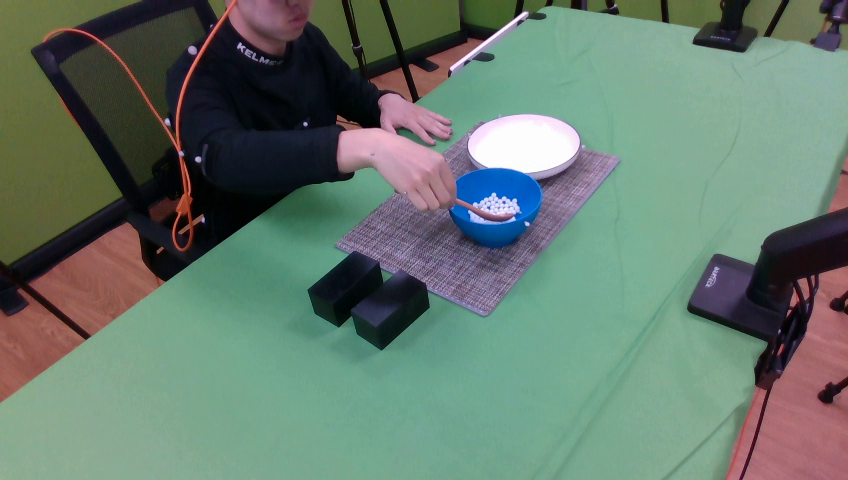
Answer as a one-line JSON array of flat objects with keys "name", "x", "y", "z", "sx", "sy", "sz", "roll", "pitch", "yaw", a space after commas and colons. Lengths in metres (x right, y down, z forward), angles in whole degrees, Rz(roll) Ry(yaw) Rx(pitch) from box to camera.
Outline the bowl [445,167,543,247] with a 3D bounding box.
[{"name": "bowl", "x": 0.111, "y": -0.042, "z": 0.952, "sx": 0.151, "sy": 0.077, "sz": 0.150, "roll": -4, "pitch": 41, "yaw": 4}]

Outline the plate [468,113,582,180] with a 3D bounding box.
[{"name": "plate", "x": 0.186, "y": -0.169, "z": 1.122, "sx": 0.207, "sy": 0.039, "sz": 0.206, "roll": -4, "pitch": 40, "yaw": 4}]

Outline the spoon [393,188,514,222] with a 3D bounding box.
[{"name": "spoon", "x": 0.046, "y": -0.054, "z": 0.885, "sx": 0.195, "sy": 0.021, "sz": 0.041, "roll": 15, "pitch": 8, "yaw": -21}]
